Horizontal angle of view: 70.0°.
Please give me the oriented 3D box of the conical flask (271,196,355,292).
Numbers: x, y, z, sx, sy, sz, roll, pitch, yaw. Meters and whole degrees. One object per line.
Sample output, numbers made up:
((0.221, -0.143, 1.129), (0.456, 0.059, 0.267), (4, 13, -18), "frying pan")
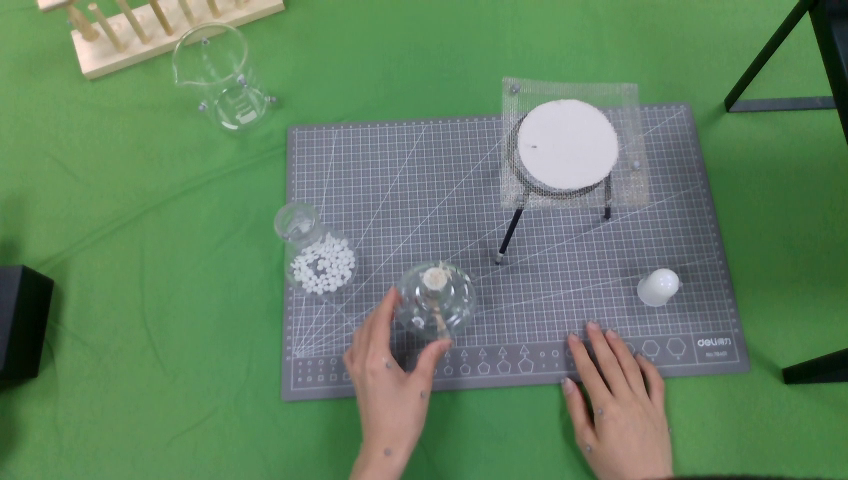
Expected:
((-0.108, -0.001, 0.565), (0.075, 0.122, 0.075), (0, 70, 1), "conical flask")

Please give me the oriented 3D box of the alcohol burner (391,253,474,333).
((0.008, 0.043, 0.553), (0.078, 0.120, 0.077), (0, 69, 0), "alcohol burner")

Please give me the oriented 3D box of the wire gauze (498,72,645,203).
((0.124, -0.089, 0.515), (0.121, 0.011, 0.124), (2, 71, 0), "wire gauze")

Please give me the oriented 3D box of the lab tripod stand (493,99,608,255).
((0.118, -0.061, 0.577), (0.148, 0.132, 0.147), (0, 69, 0), "lab tripod stand")

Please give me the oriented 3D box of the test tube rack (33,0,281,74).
((-0.296, -0.279, 0.686), (0.242, 0.086, 0.066), (-23, 72, -7), "test tube rack")

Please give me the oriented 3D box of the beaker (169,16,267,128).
((-0.214, -0.170, 0.640), (0.073, 0.101, 0.084), (42, 77, 15), "beaker")

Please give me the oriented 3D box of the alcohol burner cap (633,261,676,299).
((0.227, 0.037, 0.590), (0.034, 0.048, 0.033), (0, 72, 1), "alcohol burner cap")
